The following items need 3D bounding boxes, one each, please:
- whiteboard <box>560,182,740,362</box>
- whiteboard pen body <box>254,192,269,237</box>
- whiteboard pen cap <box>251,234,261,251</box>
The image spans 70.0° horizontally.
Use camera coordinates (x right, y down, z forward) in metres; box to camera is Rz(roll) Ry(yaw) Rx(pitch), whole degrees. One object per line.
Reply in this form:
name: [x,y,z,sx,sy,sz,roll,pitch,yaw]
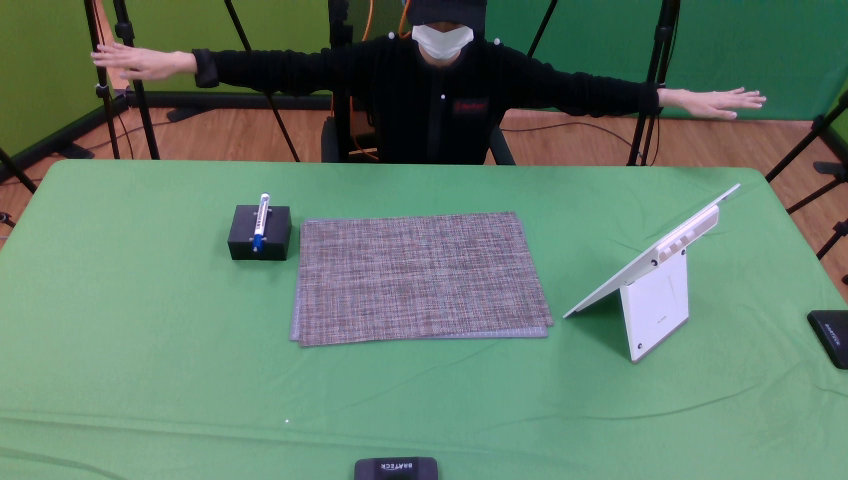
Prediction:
whiteboard: [0.406,0.075,1.001,0.217,0.306,0.143,-28,73,-28]
whiteboard pen body: [-0.309,-0.040,1.146,0.017,0.017,0.140,-1,46,-5]
whiteboard pen cap: [-0.305,0.003,1.103,0.018,0.018,0.033,-2,47,-6]
